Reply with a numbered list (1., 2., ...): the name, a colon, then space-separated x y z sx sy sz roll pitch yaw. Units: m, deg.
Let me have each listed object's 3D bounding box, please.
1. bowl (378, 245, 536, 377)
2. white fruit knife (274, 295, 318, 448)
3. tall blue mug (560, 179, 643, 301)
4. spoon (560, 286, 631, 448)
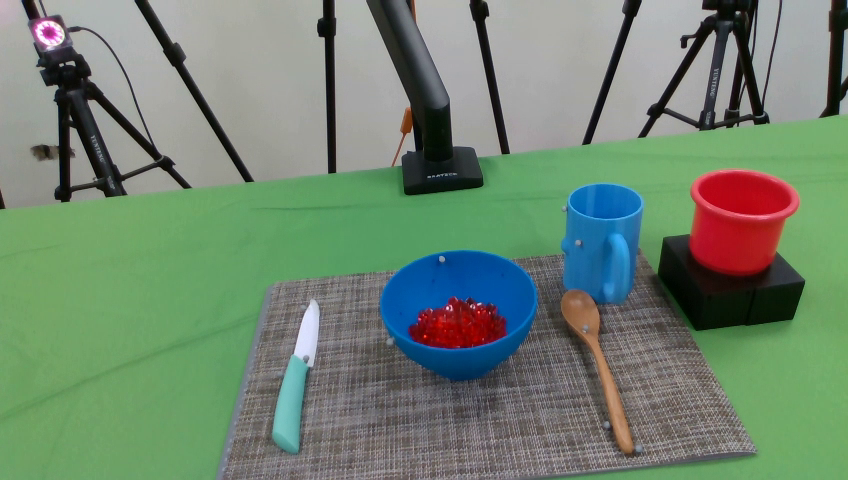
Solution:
1. bowl: 0.034 0.080 0.595 0.151 0.077 0.150 -4 35 3
2. white fruit knife: -0.126 0.122 0.616 0.027 0.016 0.205 20 30 -15
3. tall blue mug: 0.199 0.006 0.648 0.078 0.109 0.106 -22 37 -22
4. spoon: 0.165 0.112 0.577 0.042 0.022 0.192 10 34 -8
